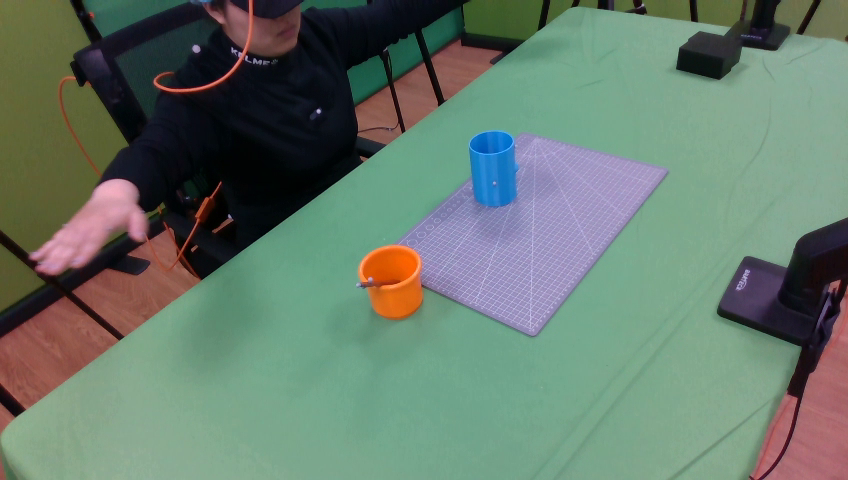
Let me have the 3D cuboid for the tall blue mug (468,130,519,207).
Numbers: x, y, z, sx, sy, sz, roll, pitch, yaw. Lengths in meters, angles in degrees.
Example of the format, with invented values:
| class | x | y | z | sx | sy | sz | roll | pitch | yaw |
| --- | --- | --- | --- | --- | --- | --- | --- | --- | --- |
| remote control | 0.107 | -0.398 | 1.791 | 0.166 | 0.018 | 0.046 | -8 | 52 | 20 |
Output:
| class | x | y | z | sx | sy | sz | roll | pitch | yaw |
| --- | --- | --- | --- | --- | --- | --- | --- | --- | --- |
| tall blue mug | 0.114 | -0.131 | 1.045 | 0.078 | 0.108 | 0.106 | -20 | 41 | -11 |

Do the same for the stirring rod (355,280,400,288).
| class | x | y | z | sx | sy | sz | roll | pitch | yaw |
| --- | --- | --- | --- | --- | --- | --- | --- | --- | --- |
| stirring rod | -0.062 | 0.059 | 0.833 | 0.014 | 0.006 | 0.177 | 6 | -1 | 12 |
